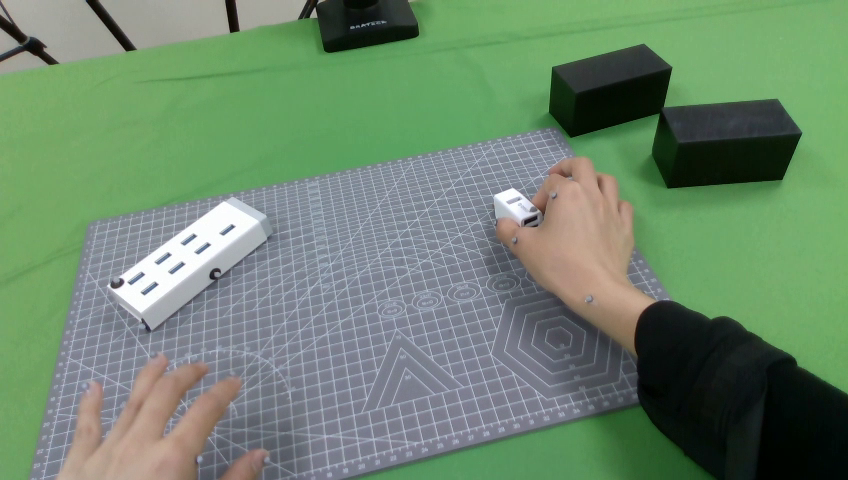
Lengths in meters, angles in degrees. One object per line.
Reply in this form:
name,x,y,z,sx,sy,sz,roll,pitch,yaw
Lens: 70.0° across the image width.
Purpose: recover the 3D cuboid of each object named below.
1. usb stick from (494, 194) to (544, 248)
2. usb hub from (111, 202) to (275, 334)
usb stick,0.075,-0.019,0.500,0.021,0.027,0.058,-21,32,-13
usb hub,-0.186,0.019,0.496,0.049,0.025,0.125,27,54,29
